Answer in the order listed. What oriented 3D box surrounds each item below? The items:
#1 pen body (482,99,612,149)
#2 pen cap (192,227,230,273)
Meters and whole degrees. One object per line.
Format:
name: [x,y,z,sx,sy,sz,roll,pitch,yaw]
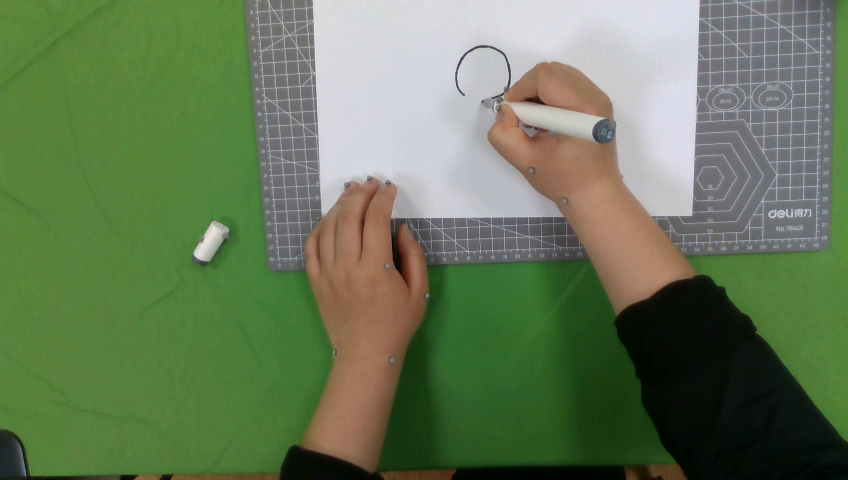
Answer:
pen body: [0.078,-0.084,0.423,0.017,0.142,0.017,-10,114,-24]
pen cap: [-0.180,0.009,0.509,0.017,0.017,0.038,36,98,1]
